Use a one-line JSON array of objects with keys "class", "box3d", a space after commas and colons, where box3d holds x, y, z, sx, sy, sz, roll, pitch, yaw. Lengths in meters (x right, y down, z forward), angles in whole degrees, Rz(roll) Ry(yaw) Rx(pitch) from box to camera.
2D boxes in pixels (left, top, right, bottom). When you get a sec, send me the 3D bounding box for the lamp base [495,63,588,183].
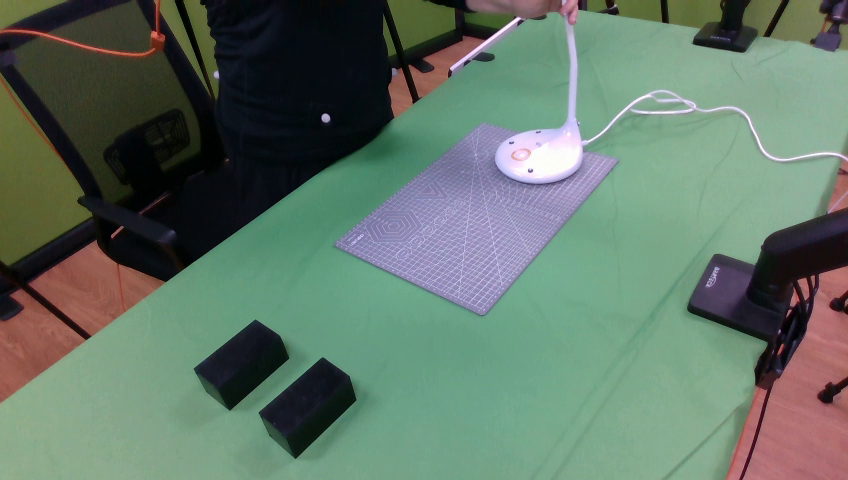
[{"class": "lamp base", "box3d": [0.215, -0.217, 1.067, 0.180, 0.181, 0.159, -19, 42, -18]}]
